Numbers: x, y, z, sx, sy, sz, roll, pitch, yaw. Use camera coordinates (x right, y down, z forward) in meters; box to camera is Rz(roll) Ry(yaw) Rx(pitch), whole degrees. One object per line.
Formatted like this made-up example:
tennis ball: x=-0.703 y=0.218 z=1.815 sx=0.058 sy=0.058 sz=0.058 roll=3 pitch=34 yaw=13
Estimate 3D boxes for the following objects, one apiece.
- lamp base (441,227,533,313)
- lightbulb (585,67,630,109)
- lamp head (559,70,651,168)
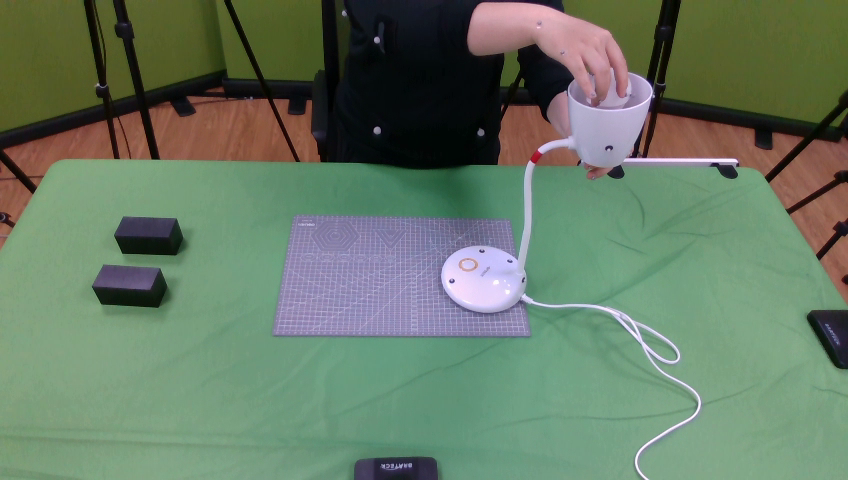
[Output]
lamp base: x=0.126 y=0.022 z=1.071 sx=0.179 sy=0.181 sz=0.160 roll=23 pitch=49 yaw=14
lightbulb: x=0.254 y=-0.187 z=0.847 sx=0.059 sy=0.108 sz=0.059 roll=-4 pitch=34 yaw=3
lamp head: x=0.251 y=-0.164 z=0.860 sx=0.112 sy=0.123 sz=0.111 roll=0 pitch=42 yaw=0
